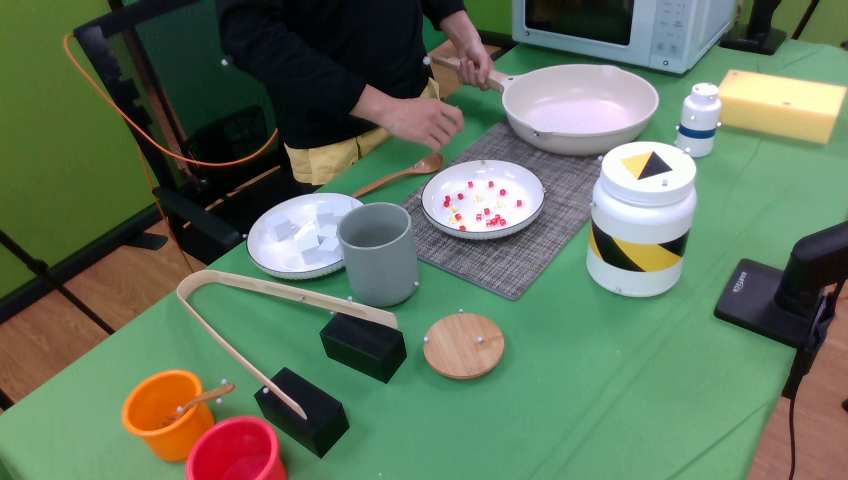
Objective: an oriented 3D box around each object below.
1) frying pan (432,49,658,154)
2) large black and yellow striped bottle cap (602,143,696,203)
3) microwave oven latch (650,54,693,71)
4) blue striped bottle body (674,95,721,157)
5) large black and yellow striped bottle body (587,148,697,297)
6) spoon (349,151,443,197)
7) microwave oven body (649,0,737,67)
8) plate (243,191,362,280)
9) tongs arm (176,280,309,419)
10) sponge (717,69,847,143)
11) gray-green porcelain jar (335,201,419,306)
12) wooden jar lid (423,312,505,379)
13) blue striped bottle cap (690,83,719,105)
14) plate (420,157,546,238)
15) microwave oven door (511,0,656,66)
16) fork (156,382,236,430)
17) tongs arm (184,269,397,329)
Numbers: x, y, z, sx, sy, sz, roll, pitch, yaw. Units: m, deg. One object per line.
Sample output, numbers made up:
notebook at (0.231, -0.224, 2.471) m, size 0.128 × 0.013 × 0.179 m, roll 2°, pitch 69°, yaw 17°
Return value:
frying pan at (0.217, -0.304, 1.222) m, size 0.484 × 0.103 × 0.308 m, roll 30°, pitch 50°, yaw 24°
large black and yellow striped bottle cap at (0.289, -0.088, 0.779) m, size 0.115 × 0.019 × 0.114 m, roll -5°, pitch 39°, yaw 4°
microwave oven latch at (0.531, -0.386, 1.301) m, size 0.078 × 0.029 × 0.030 m, roll 26°, pitch 51°, yaw 33°
blue striped bottle body at (0.486, -0.213, 1.071) m, size 0.063 × 0.121 × 0.063 m, roll -4°, pitch 41°, yaw 4°
large black and yellow striped bottle body at (0.298, -0.026, 0.835) m, size 0.131 × 0.185 × 0.130 m, roll -4°, pitch 41°, yaw 4°
spoon at (-0.051, -0.122, 1.120) m, size 0.194 × 0.022 × 0.041 m, roll -22°, pitch 59°, yaw -18°
microwave oven body at (0.475, -0.602, 1.411) m, size 0.438 × 0.261 × 0.327 m, roll 23°, pitch 50°, yaw 32°
plate at (-0.188, -0.005, 0.992) m, size 0.207 × 0.039 × 0.206 m, roll -4°, pitch 41°, yaw 4°
tongs arm at (-0.254, 0.133, 0.801) m, size 0.028 × 0.028 × 0.384 m, roll -41°, pitch 40°, yaw -23°
sponge at (0.663, -0.256, 1.142) m, size 0.205 × 0.061 × 0.118 m, roll 19°, pitch 47°, yaw 28°
gray-green porcelain jar at (-0.064, 0.024, 0.872) m, size 0.106 × 0.127 × 0.105 m, roll -4°, pitch 41°, yaw 4°
wooden jar lid at (0.053, 0.142, 0.800) m, size 0.108 × 0.021 × 0.108 m, roll -5°, pitch 39°, yaw 4°
blue striped bottle cap at (0.482, -0.251, 1.038) m, size 0.044 × 0.021 × 0.044 m, roll -5°, pitch 40°, yaw 5°
plate at (0.099, -0.067, 1.017) m, size 0.209 × 0.038 × 0.208 m, roll -4°, pitch 40°, yaw 4°
microwave oven door at (0.350, -0.539, 1.349) m, size 0.353 × 0.245 × 0.039 m, roll 24°, pitch 50°, yaw 31°
fork at (-0.262, 0.189, 0.690) m, size 0.018 × 0.206 × 0.028 m, roll 49°, pitch 43°, yaw -7°
tongs arm at (-0.202, 0.085, 0.848) m, size 0.382 × 0.027 × 0.051 m, roll 11°, pitch 45°, yaw 35°
